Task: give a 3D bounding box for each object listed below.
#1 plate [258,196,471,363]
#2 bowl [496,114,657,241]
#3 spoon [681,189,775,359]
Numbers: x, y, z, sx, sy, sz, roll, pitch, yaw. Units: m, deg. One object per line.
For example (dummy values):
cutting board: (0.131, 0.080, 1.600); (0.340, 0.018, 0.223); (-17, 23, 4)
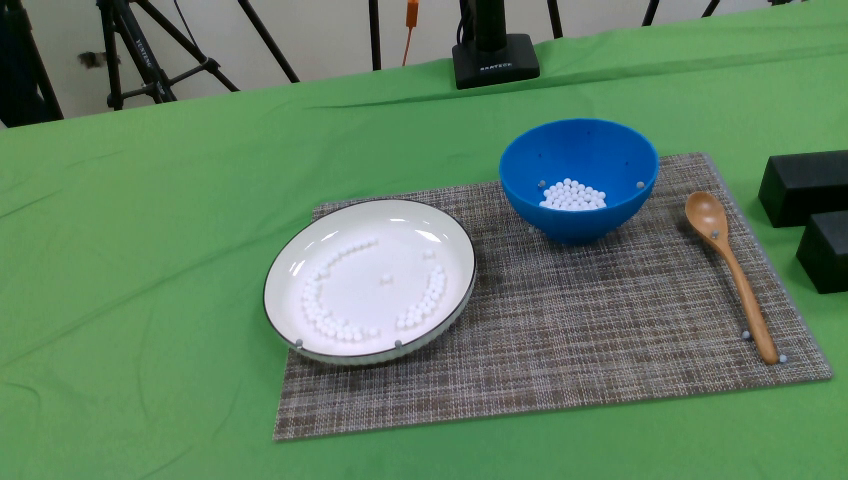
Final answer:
plate: (-0.055, 0.038, 0.593); (0.207, 0.039, 0.205); (-6, 44, 6)
bowl: (0.151, -0.052, 0.609); (0.151, 0.077, 0.150); (-6, 44, 6)
spoon: (0.274, 0.023, 0.545); (0.042, 0.022, 0.192); (7, 44, -6)
